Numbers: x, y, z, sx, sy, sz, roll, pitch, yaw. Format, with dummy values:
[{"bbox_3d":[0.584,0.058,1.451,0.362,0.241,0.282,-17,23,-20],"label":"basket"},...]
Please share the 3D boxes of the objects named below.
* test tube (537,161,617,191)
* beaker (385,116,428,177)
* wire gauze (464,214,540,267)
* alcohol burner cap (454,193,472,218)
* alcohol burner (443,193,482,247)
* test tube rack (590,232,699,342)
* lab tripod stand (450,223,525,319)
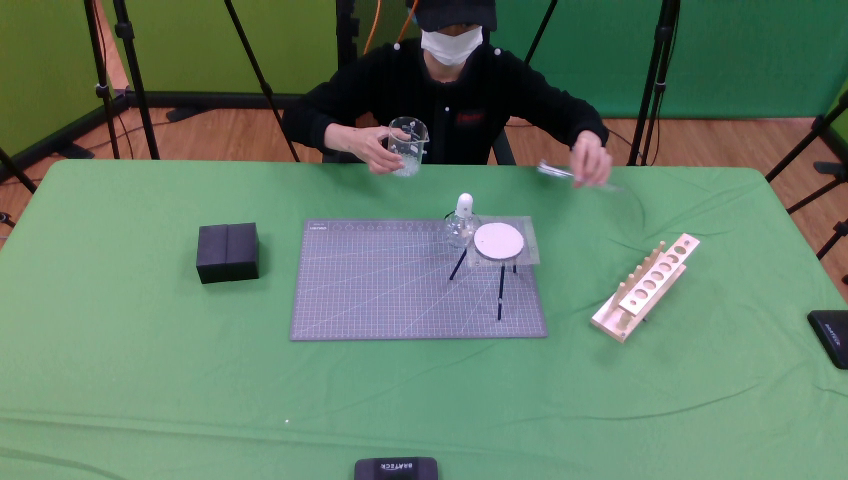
[{"bbox_3d":[0.268,-0.110,1.059,0.150,0.017,0.017,15,45,-10],"label":"test tube"},{"bbox_3d":[-0.036,-0.178,1.178,0.084,0.101,0.073,23,52,9],"label":"beaker"},{"bbox_3d":[0.131,-0.002,1.034,0.121,0.011,0.124,1,45,-2],"label":"wire gauze"},{"bbox_3d":[0.076,-0.068,1.151,0.034,0.048,0.033,4,46,-4],"label":"alcohol burner cap"},{"bbox_3d":[0.075,-0.044,1.177,0.078,0.120,0.077,2,45,-1],"label":"alcohol burner"},{"bbox_3d":[0.407,0.074,1.112,0.066,0.085,0.242,35,54,26],"label":"test tube rack"},{"bbox_3d":[0.120,0.046,1.080,0.148,0.132,0.147,1,47,-1],"label":"lab tripod stand"}]
